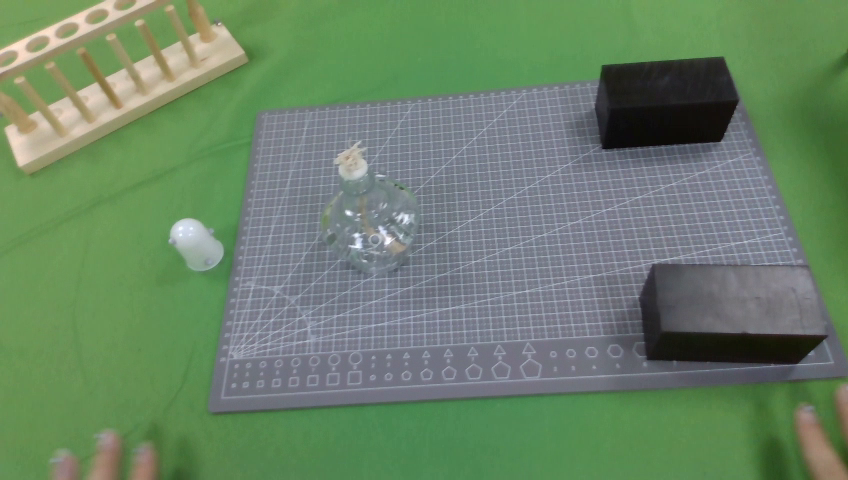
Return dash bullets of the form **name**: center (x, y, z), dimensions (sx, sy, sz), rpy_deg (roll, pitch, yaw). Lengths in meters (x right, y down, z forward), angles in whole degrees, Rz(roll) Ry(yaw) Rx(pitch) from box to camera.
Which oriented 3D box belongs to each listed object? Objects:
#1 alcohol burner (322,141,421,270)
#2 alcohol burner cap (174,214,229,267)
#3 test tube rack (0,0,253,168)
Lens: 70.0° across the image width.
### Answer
- **alcohol burner**: center (-0.042, -0.029, 0.453), dimensions (0.078, 0.120, 0.077), rpy_deg (-3, 56, 5)
- **alcohol burner cap**: center (-0.186, -0.002, 0.501), dimensions (0.034, 0.048, 0.033), rpy_deg (-4, 58, 7)
- **test tube rack**: center (-0.303, -0.175, 0.594), dimensions (0.242, 0.086, 0.066), rpy_deg (-32, 60, -12)
